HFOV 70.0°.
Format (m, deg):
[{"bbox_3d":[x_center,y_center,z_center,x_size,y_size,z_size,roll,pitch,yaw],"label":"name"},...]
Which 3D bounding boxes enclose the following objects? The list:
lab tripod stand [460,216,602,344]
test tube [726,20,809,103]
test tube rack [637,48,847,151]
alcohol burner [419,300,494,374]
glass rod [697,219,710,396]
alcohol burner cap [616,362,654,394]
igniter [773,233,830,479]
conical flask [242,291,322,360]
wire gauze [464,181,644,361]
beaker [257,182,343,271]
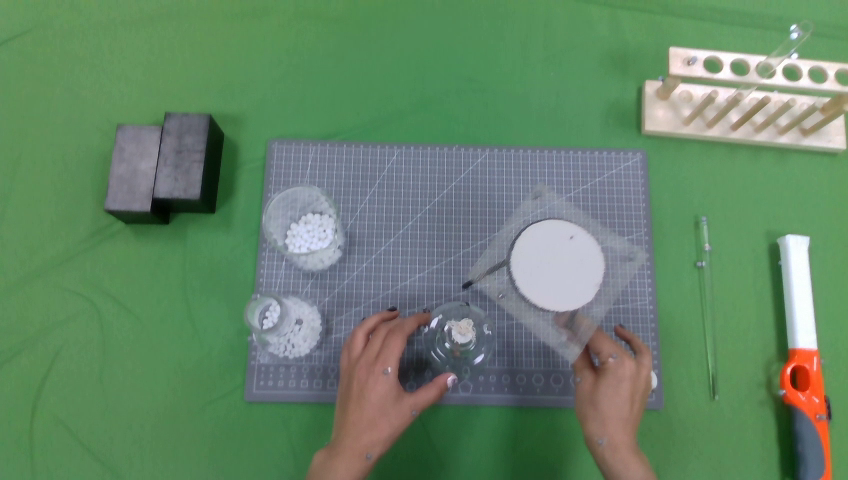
[{"bbox_3d":[0.114,0.037,0.619,0.148,0.132,0.147,0,77,0],"label":"lab tripod stand"},{"bbox_3d":[0.368,-0.188,0.658,0.017,0.151,0.017,0,75,2],"label":"test tube"},{"bbox_3d":[0.383,-0.161,0.703,0.242,0.085,0.066,5,76,0],"label":"test tube rack"},{"bbox_3d":[0.034,0.096,0.613,0.078,0.119,0.077,0,76,1],"label":"alcohol burner"},{"bbox_3d":[0.315,0.073,0.683,0.008,0.008,0.199,3,79,-1],"label":"glass rod"},{"bbox_3d":[0.226,0.145,0.643,0.034,0.048,0.033,0,75,-1],"label":"alcohol burner cap"},{"bbox_3d":[0.411,0.127,0.663,0.057,0.025,0.275,6,76,-11],"label":"igniter"},{"bbox_3d":[-0.148,0.080,0.607,0.075,0.122,0.075,0,76,-1],"label":"conical flask"},{"bbox_3d":[0.119,0.024,0.553,0.124,0.011,0.121,38,79,8],"label":"wire gauze"},{"bbox_3d":[-0.123,-0.008,0.641,0.084,0.100,0.074,37,78,7],"label":"beaker"}]
